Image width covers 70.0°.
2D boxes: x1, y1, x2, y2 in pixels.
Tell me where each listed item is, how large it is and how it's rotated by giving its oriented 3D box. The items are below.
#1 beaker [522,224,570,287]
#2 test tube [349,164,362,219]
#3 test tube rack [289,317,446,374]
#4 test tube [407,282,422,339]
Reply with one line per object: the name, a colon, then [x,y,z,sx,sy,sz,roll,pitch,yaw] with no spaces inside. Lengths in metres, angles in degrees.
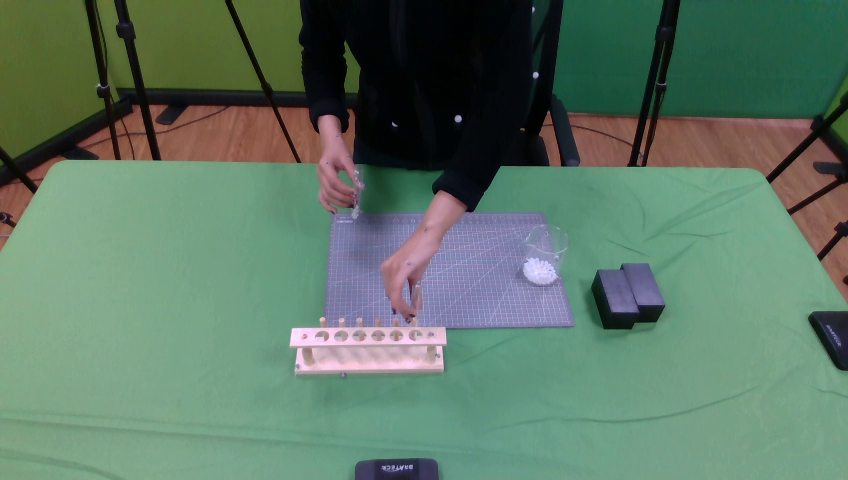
beaker: [0.221,0.032,1.129,0.084,0.101,0.073,-6,46,-9]
test tube: [-0.124,-0.084,1.091,0.017,0.151,0.017,5,56,-7]
test tube rack: [-0.089,0.167,0.987,0.242,0.085,0.066,0,46,-4]
test tube: [-0.016,0.112,0.953,0.017,0.151,0.017,3,51,-3]
